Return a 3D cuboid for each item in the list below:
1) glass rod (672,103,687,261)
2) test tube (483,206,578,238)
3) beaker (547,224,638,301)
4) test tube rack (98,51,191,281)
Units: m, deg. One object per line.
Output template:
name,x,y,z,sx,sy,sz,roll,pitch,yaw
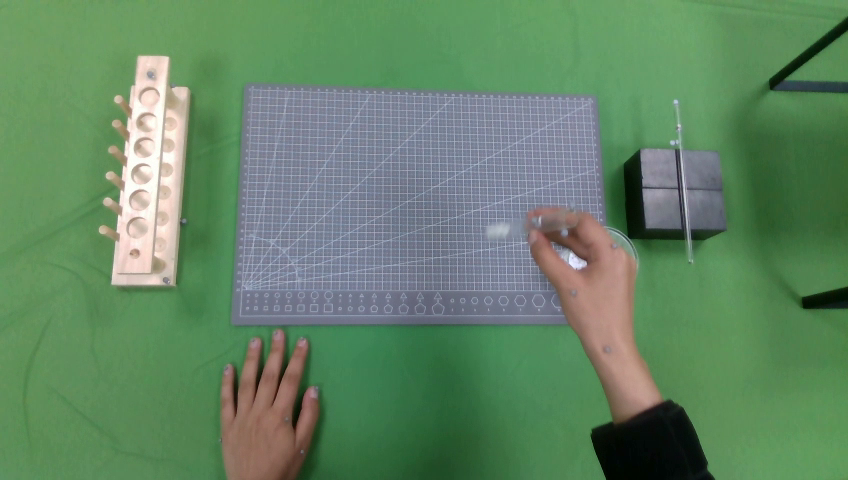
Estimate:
glass rod,0.307,-0.072,0.727,0.008,0.008,0.199,3,78,-5
test tube,0.092,-0.015,0.557,0.017,0.150,0.017,2,85,-21
beaker,0.184,0.030,0.691,0.084,0.100,0.073,3,76,-4
test tube rack,-0.314,-0.080,0.674,0.067,0.085,0.241,1,77,-5
